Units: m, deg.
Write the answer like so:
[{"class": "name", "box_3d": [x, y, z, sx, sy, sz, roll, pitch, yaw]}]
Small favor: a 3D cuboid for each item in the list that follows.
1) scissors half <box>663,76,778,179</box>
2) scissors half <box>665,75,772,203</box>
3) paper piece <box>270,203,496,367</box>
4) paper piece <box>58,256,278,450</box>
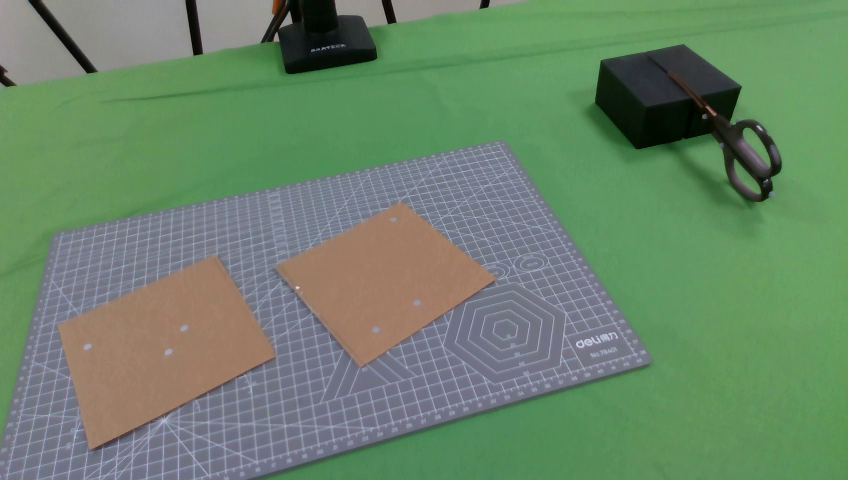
[{"class": "scissors half", "box_3d": [0.270, -0.115, 0.566, 0.013, 0.040, 0.173, -22, 41, 1]}, {"class": "scissors half", "box_3d": [0.275, -0.102, 0.582, 0.013, 0.040, 0.173, -19, 58, -3]}, {"class": "paper piece", "box_3d": [-0.035, 0.028, 0.507, 0.138, 0.009, 0.134, -29, 52, -25]}, {"class": "paper piece", "box_3d": [-0.201, 0.077, 0.467, 0.136, 0.004, 0.134, -25, 47, -22]}]
